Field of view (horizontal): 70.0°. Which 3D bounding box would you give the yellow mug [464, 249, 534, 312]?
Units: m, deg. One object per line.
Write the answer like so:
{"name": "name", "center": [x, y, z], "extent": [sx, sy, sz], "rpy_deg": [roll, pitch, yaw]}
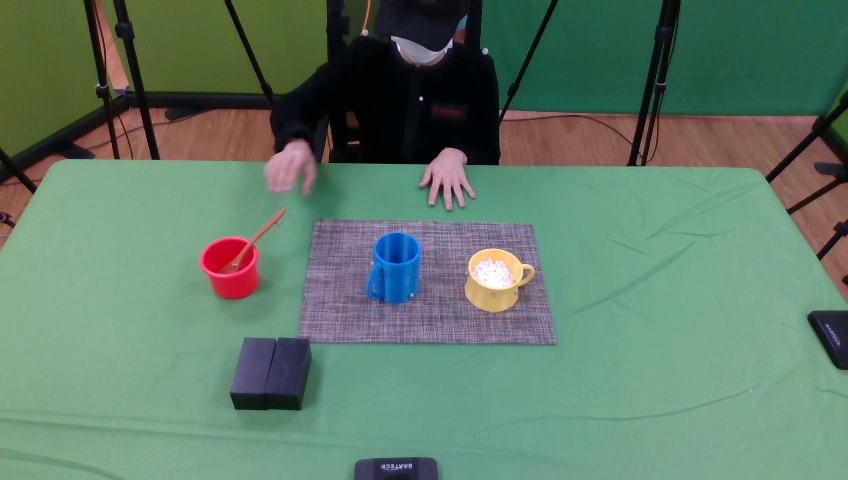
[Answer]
{"name": "yellow mug", "center": [0.141, 0.070, 1.106], "extent": [0.131, 0.064, 0.099], "rpy_deg": [-9, 47, -14]}

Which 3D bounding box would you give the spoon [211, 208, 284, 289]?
{"name": "spoon", "center": [-0.313, 0.015, 1.076], "extent": [0.194, 0.022, 0.041], "rpy_deg": [-48, 54, 12]}

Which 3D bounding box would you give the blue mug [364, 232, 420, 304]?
{"name": "blue mug", "center": [-0.062, 0.059, 1.074], "extent": [0.082, 0.106, 0.116], "rpy_deg": [35, 53, 27]}
